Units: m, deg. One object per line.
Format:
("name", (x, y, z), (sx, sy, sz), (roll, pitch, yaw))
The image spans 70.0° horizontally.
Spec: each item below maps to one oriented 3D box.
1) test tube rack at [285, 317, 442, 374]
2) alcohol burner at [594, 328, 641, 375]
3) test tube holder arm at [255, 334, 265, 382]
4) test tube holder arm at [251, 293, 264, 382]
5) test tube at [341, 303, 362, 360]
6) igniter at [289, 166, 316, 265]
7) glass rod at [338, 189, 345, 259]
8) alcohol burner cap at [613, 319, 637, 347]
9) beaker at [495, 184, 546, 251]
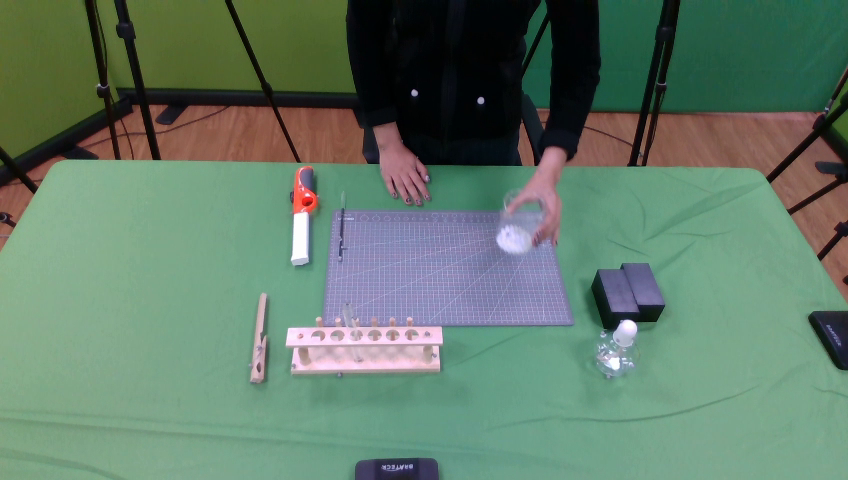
("test tube rack", (-0.095, 0.166, 0.988), (0.242, 0.085, 0.066), (0, 46, -4))
("alcohol burner", (0.322, 0.170, 0.994), (0.078, 0.119, 0.077), (3, 48, -3))
("test tube holder arm", (-0.269, 0.193, 0.997), (0.010, 0.015, 0.087), (23, 36, -32))
("test tube holder arm", (-0.281, 0.159, 1.025), (0.013, 0.015, 0.177), (23, 36, -32))
("test tube", (-0.111, 0.145, 0.938), (0.017, 0.151, 0.017), (-1, 50, 2))
("igniter", (-0.248, -0.058, 1.233), (0.057, 0.025, 0.274), (-9, 47, 1))
("glass rod", (-0.166, -0.037, 1.227), (0.008, 0.008, 0.198), (-1, 47, -4))
("alcohol burner cap", (0.323, 0.146, 0.966), (0.034, 0.048, 0.033), (-1, 52, 2))
("beaker", (0.164, -0.035, 1.064), (0.084, 0.101, 0.073), (-30, 56, -31))
